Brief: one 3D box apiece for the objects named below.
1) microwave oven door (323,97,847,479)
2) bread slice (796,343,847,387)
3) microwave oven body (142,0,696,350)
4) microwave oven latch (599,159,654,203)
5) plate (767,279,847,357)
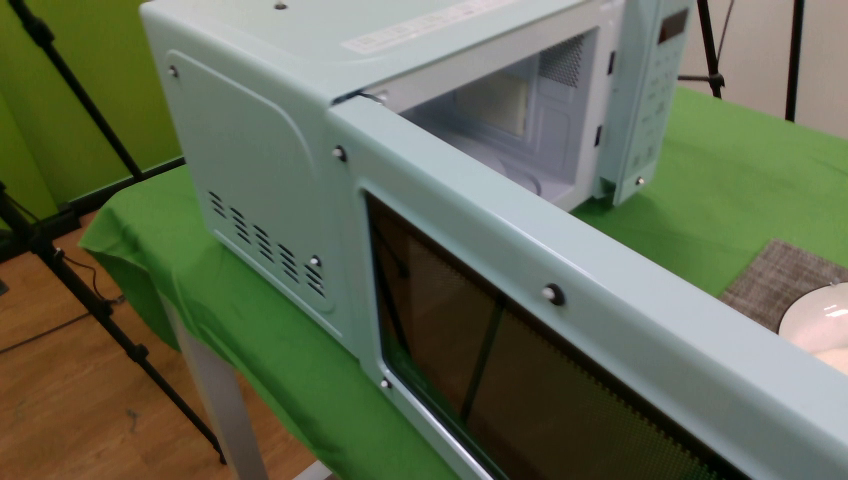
[{"bbox_3d":[0.060,0.091,0.337,0.039,0.246,0.352,-27,45,-29],"label":"microwave oven door"},{"bbox_3d":[0.371,0.109,0.463,0.132,0.019,0.103,-15,37,-12],"label":"bread slice"},{"bbox_3d":[0.007,-0.138,0.641,0.442,0.262,0.323,-32,48,-33],"label":"microwave oven body"},{"bbox_3d":[0.239,-0.074,0.715,0.079,0.030,0.030,-31,48,-32],"label":"microwave oven latch"},{"bbox_3d":[0.373,0.109,0.460,0.209,0.038,0.207,-4,36,3],"label":"plate"}]
